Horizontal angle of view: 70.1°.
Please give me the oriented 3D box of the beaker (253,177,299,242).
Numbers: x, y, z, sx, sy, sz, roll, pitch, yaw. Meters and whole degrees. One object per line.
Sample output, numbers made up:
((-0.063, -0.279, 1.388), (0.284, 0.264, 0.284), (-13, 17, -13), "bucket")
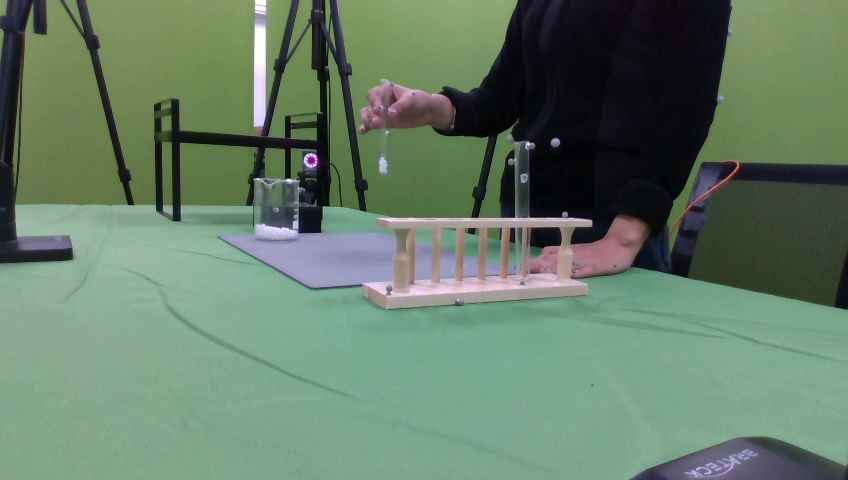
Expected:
((-0.243, -0.050, 0.990), (0.074, 0.100, 0.084), (2, 9, 1), "beaker")

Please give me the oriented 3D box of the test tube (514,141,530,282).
((0.103, -0.028, 0.636), (0.017, 0.150, 0.017), (-2, 12, 1), "test tube")

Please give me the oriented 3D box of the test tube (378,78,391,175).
((-0.062, -0.177, 0.944), (0.017, 0.150, 0.017), (1, 1, 0), "test tube")

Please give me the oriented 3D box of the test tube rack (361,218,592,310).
((0.060, 0.019, 0.640), (0.243, 0.085, 0.066), (-1, 8, -27), "test tube rack")
